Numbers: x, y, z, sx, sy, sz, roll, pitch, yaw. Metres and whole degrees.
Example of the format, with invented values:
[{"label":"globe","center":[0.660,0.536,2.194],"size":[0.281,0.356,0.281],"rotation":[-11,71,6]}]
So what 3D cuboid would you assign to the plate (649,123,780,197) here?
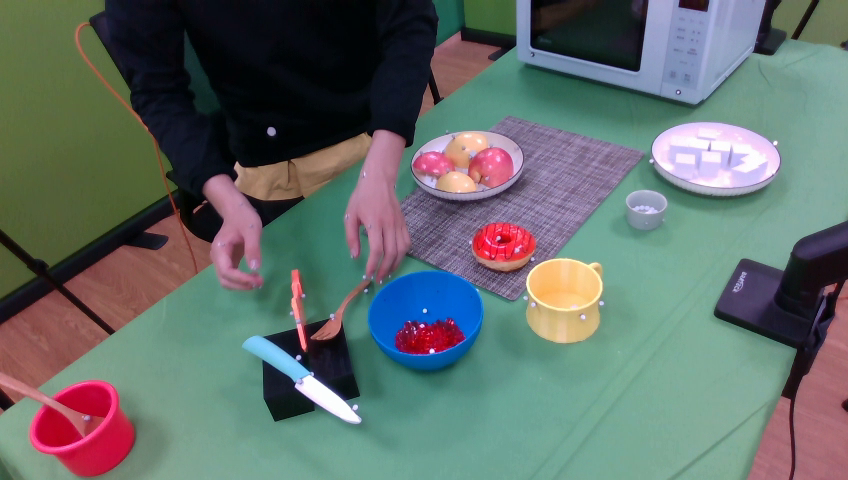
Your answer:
[{"label":"plate","center":[0.497,-0.135,1.046],"size":[0.207,0.039,0.206],"rotation":[-4,40,4]}]

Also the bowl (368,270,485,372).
[{"label":"bowl","center":[0.007,0.118,0.791],"size":[0.151,0.077,0.150],"rotation":[-5,40,4]}]

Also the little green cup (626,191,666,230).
[{"label":"little green cup","center":[0.352,-0.046,0.963],"size":[0.061,0.039,0.061],"rotation":[-4,40,4]}]

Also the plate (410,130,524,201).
[{"label":"plate","center":[0.078,-0.133,1.101],"size":[0.209,0.038,0.208],"rotation":[-4,40,4]}]

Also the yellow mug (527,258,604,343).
[{"label":"yellow mug","center":[0.202,0.073,0.824],"size":[0.131,0.064,0.099],"rotation":[-32,46,-27]}]

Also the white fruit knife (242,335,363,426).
[{"label":"white fruit knife","center":[-0.148,0.167,0.730],"size":[0.206,0.016,0.027],"rotation":[26,80,31]}]

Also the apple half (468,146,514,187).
[{"label":"apple half","center":[0.119,-0.137,1.072],"size":[0.080,0.053,0.075],"rotation":[26,49,38]}]

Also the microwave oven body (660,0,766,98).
[{"label":"microwave oven body","center":[0.472,-0.513,1.317],"size":[0.438,0.261,0.327],"rotation":[26,51,34]}]

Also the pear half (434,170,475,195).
[{"label":"pear half","center":[0.053,-0.105,1.051],"size":[0.071,0.031,0.087],"rotation":[-5,31,-28]}]

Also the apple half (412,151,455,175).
[{"label":"apple half","center":[0.022,-0.144,1.097],"size":[0.081,0.033,0.081],"rotation":[7,22,-2]}]

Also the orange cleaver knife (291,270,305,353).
[{"label":"orange cleaver knife","center":[-0.175,0.094,0.844],"size":[0.012,0.077,0.210],"rotation":[-11,14,-10]}]

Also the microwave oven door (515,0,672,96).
[{"label":"microwave oven door","center":[0.343,-0.454,1.259],"size":[0.353,0.245,0.039],"rotation":[26,51,33]}]

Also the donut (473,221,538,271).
[{"label":"donut","center":[0.123,0.008,0.923],"size":[0.099,0.048,0.098],"rotation":[-4,38,3]}]

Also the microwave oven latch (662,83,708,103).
[{"label":"microwave oven latch","center":[0.517,-0.296,1.204],"size":[0.078,0.029,0.030],"rotation":[27,52,35]}]

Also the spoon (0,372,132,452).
[{"label":"spoon","center":[-0.439,0.195,0.715],"size":[0.195,0.021,0.041],"rotation":[37,41,-16]}]

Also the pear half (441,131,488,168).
[{"label":"pear half","center":[0.065,-0.174,1.129],"size":[0.110,0.056,0.076],"rotation":[-8,36,5]}]

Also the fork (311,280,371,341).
[{"label":"fork","center":[-0.108,0.093,0.832],"size":[0.028,0.018,0.207],"rotation":[-3,19,14]}]
